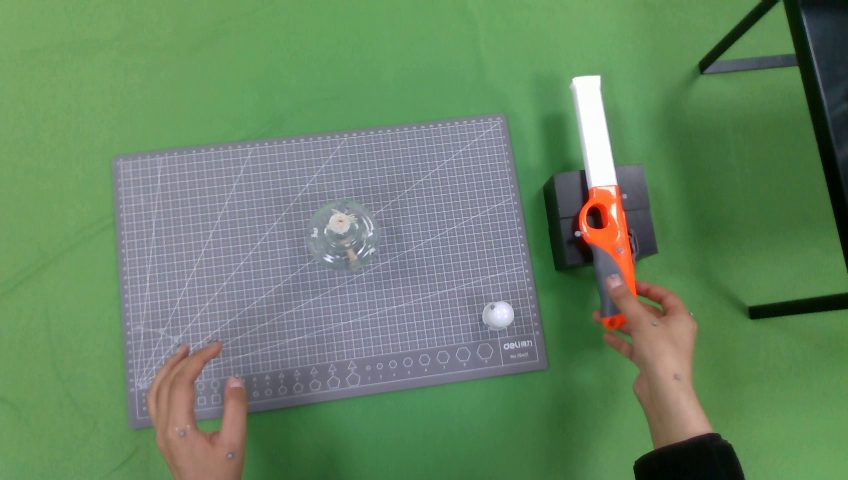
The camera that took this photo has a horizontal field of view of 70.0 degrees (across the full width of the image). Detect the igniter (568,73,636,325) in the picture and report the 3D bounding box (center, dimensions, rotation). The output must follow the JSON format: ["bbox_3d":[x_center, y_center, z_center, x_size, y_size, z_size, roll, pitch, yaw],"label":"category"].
[{"bbox_3d":[0.188,-0.048,0.645,0.057,0.025,0.275,-4,78,-3],"label":"igniter"}]

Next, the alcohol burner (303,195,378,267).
[{"bbox_3d":[-0.087,-0.012,0.623,0.078,0.119,0.077,1,80,-5],"label":"alcohol burner"}]

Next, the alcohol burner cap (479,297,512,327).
[{"bbox_3d":[0.078,0.077,0.655,0.034,0.048,0.033,1,80,-3],"label":"alcohol burner cap"}]
